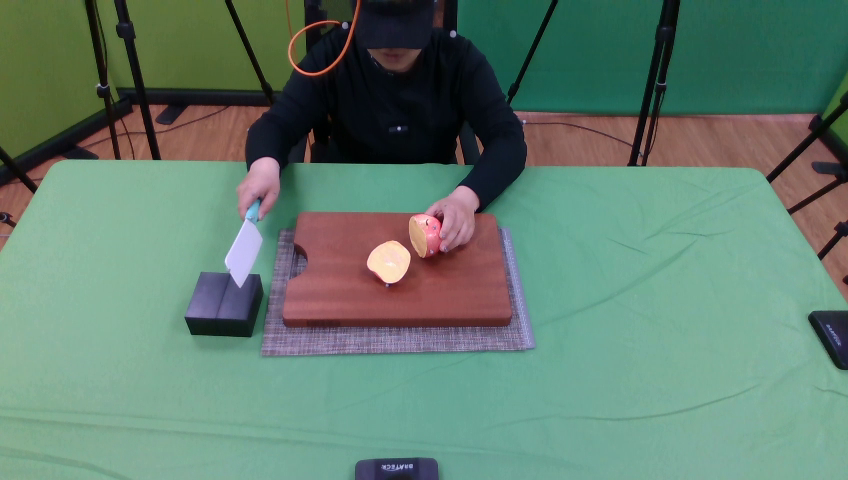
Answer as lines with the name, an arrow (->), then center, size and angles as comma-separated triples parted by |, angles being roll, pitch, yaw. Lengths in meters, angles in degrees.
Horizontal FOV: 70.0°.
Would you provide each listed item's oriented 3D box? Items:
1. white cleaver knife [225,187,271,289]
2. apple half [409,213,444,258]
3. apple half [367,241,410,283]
white cleaver knife -> -0.315, -0.011, 1.101 | 0.021, 0.066, 0.285 | -14, 31, 9
apple half -> 0.010, -0.009, 1.134 | 0.053, 0.075, 0.080 | -15, 45, -23
apple half -> -0.059, 0.043, 1.100 | 0.081, 0.033, 0.081 | -3, 67, 7
